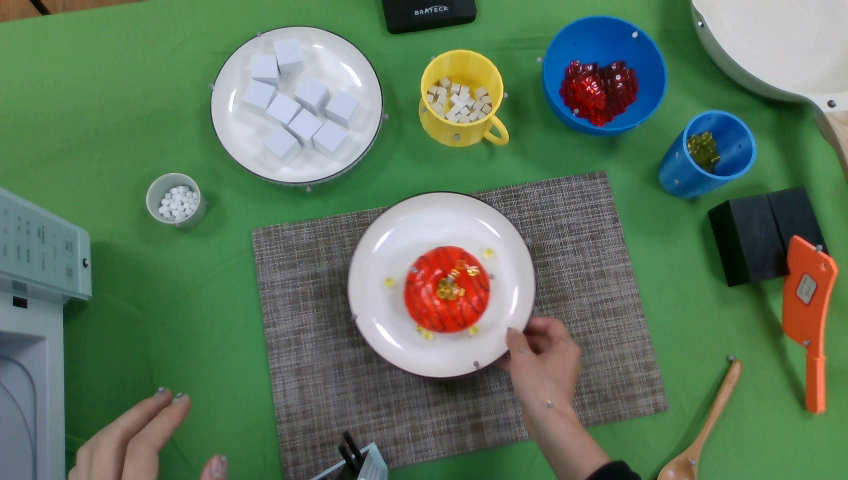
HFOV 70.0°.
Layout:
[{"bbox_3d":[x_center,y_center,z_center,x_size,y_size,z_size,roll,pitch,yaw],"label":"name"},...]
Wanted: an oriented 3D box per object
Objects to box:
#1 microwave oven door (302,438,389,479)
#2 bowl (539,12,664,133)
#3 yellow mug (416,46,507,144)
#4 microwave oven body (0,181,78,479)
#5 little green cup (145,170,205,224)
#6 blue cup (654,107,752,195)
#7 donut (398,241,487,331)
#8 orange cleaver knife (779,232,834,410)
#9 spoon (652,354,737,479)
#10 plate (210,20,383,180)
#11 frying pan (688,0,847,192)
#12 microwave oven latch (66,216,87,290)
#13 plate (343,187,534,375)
[{"bbox_3d":[-0.196,0.291,0.530,0.356,0.244,0.039,-29,80,-9],"label":"microwave oven door"},{"bbox_3d":[0.211,-0.195,0.758,0.151,0.077,0.150,1,78,-3],"label":"bowl"},{"bbox_3d":[0.053,-0.168,0.750,0.130,0.064,0.100,42,79,5],"label":"yellow mug"},{"bbox_3d":[-0.516,0.183,0.538,0.326,0.261,0.439,-7,79,-5],"label":"microwave oven body"},{"bbox_3d":[-0.291,-0.049,0.716,0.061,0.039,0.061,1,79,-4],"label":"little green cup"},{"bbox_3d":[0.327,-0.098,0.732,0.093,0.100,0.092,1,76,-3],"label":"blue cup"},{"bbox_3d":[0.020,0.051,0.662,0.099,0.048,0.099,0,83,-3],"label":"donut"},{"bbox_3d":[0.443,0.096,0.709,0.012,0.076,0.212,-11,107,-5],"label":"orange cleaver knife"},{"bbox_3d":[0.323,0.215,0.707,0.041,0.022,0.193,32,78,16],"label":"spoon"},{"bbox_3d":[-0.155,-0.170,0.752,0.208,0.039,0.206,1,78,-3],"label":"plate"},{"bbox_3d":[0.494,-0.217,0.766,0.307,0.103,0.484,-5,70,-3],"label":"frying pan"},{"bbox_3d":[-0.397,0.015,0.679,0.030,0.029,0.079,-6,79,-5],"label":"microwave oven latch"},{"bbox_3d":[0.016,0.045,0.675,0.209,0.038,0.208,0,81,-3],"label":"plate"}]
